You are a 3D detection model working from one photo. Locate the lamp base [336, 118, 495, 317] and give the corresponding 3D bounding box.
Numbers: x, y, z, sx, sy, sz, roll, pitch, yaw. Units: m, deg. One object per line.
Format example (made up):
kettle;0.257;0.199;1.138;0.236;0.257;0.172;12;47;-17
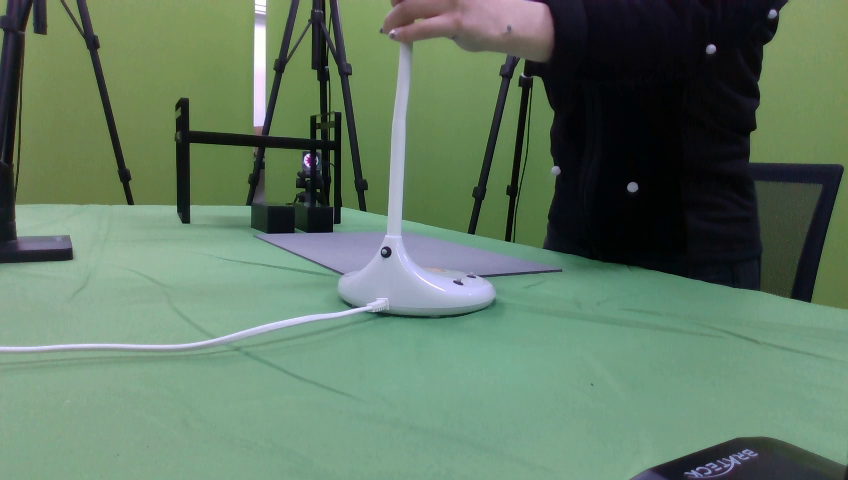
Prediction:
lamp base;-0.009;-0.026;0.589;0.160;0.180;0.179;4;10;14
